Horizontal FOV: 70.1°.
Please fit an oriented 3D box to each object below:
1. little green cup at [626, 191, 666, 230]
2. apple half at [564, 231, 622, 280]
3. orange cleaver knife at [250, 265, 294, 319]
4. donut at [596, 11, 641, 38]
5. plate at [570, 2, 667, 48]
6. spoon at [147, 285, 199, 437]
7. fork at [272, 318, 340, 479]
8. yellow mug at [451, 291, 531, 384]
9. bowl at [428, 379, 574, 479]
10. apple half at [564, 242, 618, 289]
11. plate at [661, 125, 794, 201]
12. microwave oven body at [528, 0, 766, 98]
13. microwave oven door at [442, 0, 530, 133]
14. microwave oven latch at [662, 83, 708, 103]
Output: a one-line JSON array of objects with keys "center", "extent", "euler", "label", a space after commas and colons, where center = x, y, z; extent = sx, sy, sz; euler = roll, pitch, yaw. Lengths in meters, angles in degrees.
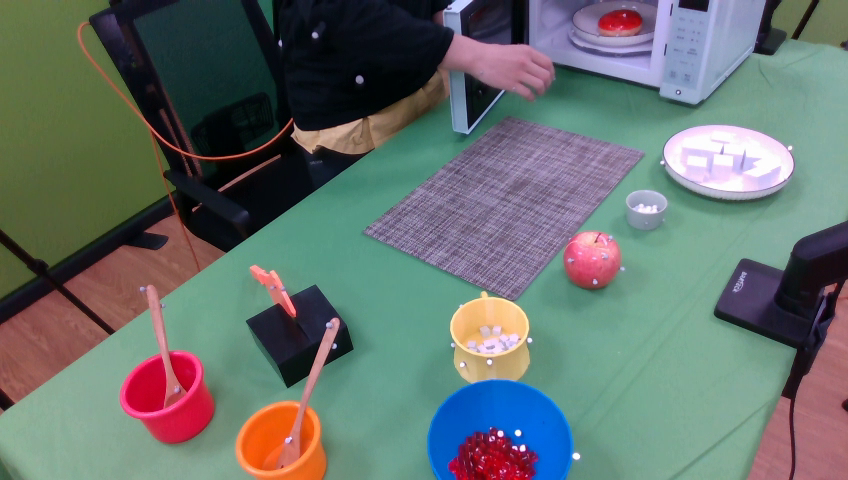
[{"center": [0.352, -0.046, 0.963], "extent": [0.061, 0.039, 0.061], "euler": [-4, 40, 4], "label": "little green cup"}, {"center": [0.248, 0.021, 0.874], "extent": [0.080, 0.075, 0.053], "euler": [13, 40, 29], "label": "apple half"}, {"center": [-0.222, 0.073, 0.876], "extent": [0.012, 0.077, 0.210], "euler": [-24, 13, -22], "label": "orange cleaver knife"}, {"center": [0.433, -0.479, 1.347], "extent": [0.099, 0.048, 0.098], "euler": [-5, 39, 5], "label": "donut"}, {"center": [0.437, -0.484, 1.369], "extent": [0.209, 0.038, 0.208], "euler": [-5, 41, 4], "label": "plate"}, {"center": [-0.318, 0.148, 0.754], "extent": [0.042, 0.021, 0.193], "euler": [-14, 85, -11], "label": "spoon"}, {"center": [-0.131, 0.186, 0.676], "extent": [0.028, 0.019, 0.207], "euler": [17, 90, 28], "label": "fork"}, {"center": [0.085, 0.120, 0.786], "extent": [0.100, 0.064, 0.130], "euler": [-7, 39, 1], "label": "yellow mug"}, {"center": [0.082, 0.233, 0.644], "extent": [0.151, 0.077, 0.150], "euler": [-4, 39, 4], "label": "bowl"}, {"center": [0.229, 0.044, 0.848], "extent": [0.081, 0.081, 0.033], "euler": [16, 41, 26], "label": "apple half"}, {"center": [0.513, -0.128, 1.035], "extent": [0.207, 0.039, 0.206], "euler": [-4, 40, 4], "label": "plate"}, {"center": [0.472, -0.513, 1.317], "extent": [0.438, 0.261, 0.327], "euler": [25, 51, 34], "label": "microwave oven body"}, {"center": [0.139, -0.414, 1.243], "extent": [0.039, 0.245, 0.356], "euler": [15, 45, 24], "label": "microwave oven door"}, {"center": [0.518, -0.296, 1.204], "extent": [0.078, 0.029, 0.030], "euler": [28, 52, 35], "label": "microwave oven latch"}]
